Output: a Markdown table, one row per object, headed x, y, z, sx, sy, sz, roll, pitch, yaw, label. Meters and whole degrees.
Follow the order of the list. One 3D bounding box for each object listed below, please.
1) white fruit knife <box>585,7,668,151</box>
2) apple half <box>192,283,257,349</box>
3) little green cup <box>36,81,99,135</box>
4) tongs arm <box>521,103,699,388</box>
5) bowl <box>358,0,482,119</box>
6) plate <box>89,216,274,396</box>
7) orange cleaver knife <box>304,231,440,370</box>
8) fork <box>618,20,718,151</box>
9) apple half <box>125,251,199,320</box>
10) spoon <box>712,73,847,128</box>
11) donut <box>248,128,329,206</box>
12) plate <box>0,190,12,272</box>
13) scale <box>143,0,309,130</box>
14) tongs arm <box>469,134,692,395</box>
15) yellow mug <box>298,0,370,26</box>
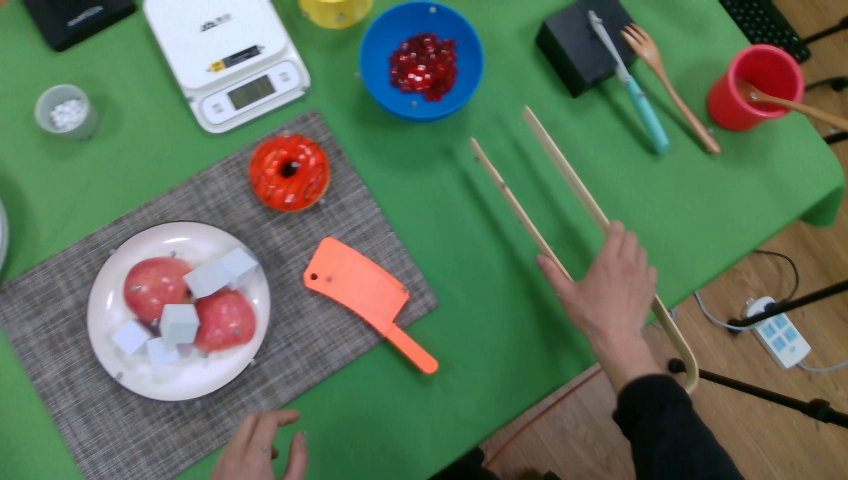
| x | y | z | sx | sy | sz | roll | pitch | yaw | label |
| --- | --- | --- | --- | --- | --- | --- | --- | --- | --- |
| 0.258 | -0.205 | 0.775 | 0.016 | 0.027 | 0.208 | -34 | 99 | -8 | white fruit knife |
| -0.239 | 0.088 | 0.706 | 0.081 | 0.033 | 0.081 | 0 | 83 | -1 | apple half |
| -0.435 | -0.159 | 0.745 | 0.061 | 0.039 | 0.061 | 1 | 80 | -3 | little green cup |
| 0.217 | -0.002 | 0.722 | 0.028 | 0.028 | 0.386 | -27 | 80 | -14 | tongs arm |
| -0.006 | -0.215 | 0.761 | 0.151 | 0.077 | 0.151 | 1 | 81 | -3 | bowl |
| -0.279 | 0.076 | 0.712 | 0.209 | 0.038 | 0.208 | 1 | 81 | -3 | plate |
| -0.055 | 0.072 | 0.736 | 0.211 | 0.012 | 0.077 | 38 | 74 | 5 | orange cleaver knife |
| 0.320 | -0.198 | 0.785 | 0.028 | 0.018 | 0.208 | -42 | 101 | -12 | fork |
| -0.305 | 0.050 | 0.699 | 0.074 | 0.053 | 0.080 | 12 | 79 | 1 | apple half |
| 0.442 | -0.171 | 0.747 | 0.041 | 0.022 | 0.191 | -37 | 40 | -9 | spoon |
| -0.166 | -0.089 | 0.743 | 0.099 | 0.048 | 0.098 | 0 | 82 | -2 | donut |
| -0.587 | -0.003 | 0.710 | 0.208 | 0.039 | 0.207 | 1 | 80 | -3 | plate |
| -0.253 | -0.254 | 0.775 | 0.149 | 0.031 | 0.200 | -28 | 84 | -7 | scale |
| 0.178 | 0.022 | 0.715 | 0.051 | 0.026 | 0.383 | -31 | 80 | -11 | tongs arm |
| -0.133 | -0.345 | 0.780 | 0.131 | 0.064 | 0.099 | 25 | 80 | 2 | yellow mug |
